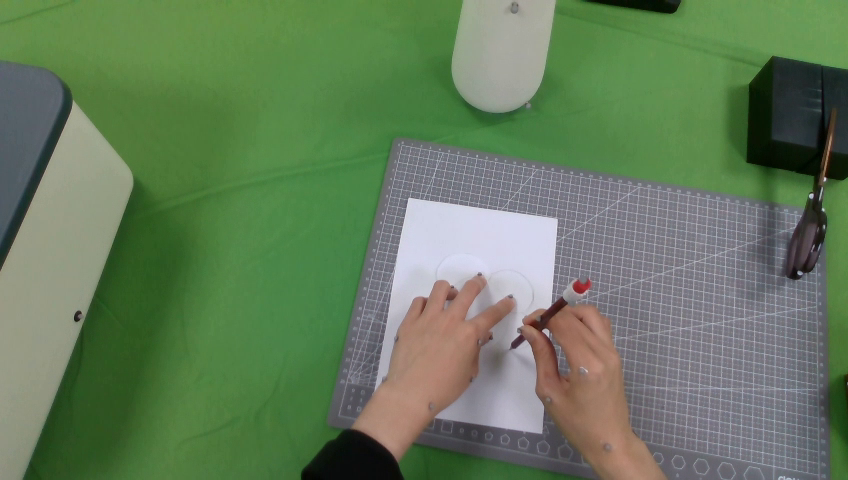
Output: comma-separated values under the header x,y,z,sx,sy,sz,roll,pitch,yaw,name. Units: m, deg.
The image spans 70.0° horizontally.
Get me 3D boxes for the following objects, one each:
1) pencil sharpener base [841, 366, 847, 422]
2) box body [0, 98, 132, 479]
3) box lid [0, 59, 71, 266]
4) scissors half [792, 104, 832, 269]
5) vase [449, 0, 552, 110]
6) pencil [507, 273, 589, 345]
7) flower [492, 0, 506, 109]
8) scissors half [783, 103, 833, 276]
x,y,z,sx,sy,sz,roll,pitch,yaw,name
0.416,0.141,0.509,0.061,0.107,0.076,6,71,1,pencil sharpener base
-0.436,0.039,0.500,0.254,0.161,0.362,10,71,3,box body
-0.436,0.011,0.430,0.263,0.015,0.369,11,71,2,box lid
0.371,-0.055,0.570,0.013,0.040,0.174,16,72,14,scissors half
0.074,-0.211,0.575,0.098,0.201,0.097,0,70,0,vase
0.091,0.062,0.480,0.012,0.195,0.012,3,68,-7,pencil
0.070,-0.252,0.501,0.044,0.365,0.038,4,53,4,flower
0.376,-0.050,0.589,0.012,0.040,0.175,15,90,19,scissors half
